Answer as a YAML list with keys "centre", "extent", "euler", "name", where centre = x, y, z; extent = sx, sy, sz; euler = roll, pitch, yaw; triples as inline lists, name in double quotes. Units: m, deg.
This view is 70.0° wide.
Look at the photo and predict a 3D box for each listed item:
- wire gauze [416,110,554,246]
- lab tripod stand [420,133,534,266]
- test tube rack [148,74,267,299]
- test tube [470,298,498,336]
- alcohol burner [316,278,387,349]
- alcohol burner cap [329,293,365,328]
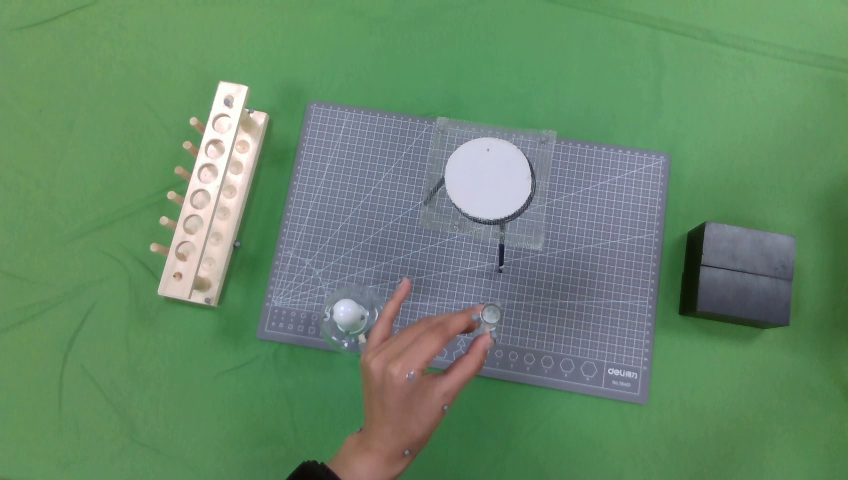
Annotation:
- centre: [0.061, -0.064, 0.594]
  extent: [0.125, 0.011, 0.121]
  euler: [10, 80, 3]
  name: "wire gauze"
- centre: [0.067, -0.054, 0.660]
  extent: [0.148, 0.132, 0.147]
  euler: [0, 77, 1]
  name: "lab tripod stand"
- centre: [-0.253, -0.061, 0.692]
  extent: [0.067, 0.085, 0.241]
  euler: [12, 79, 3]
  name: "test tube rack"
- centre: [0.049, 0.067, 0.506]
  extent: [0.017, 0.151, 0.017]
  euler: [0, 76, 2]
  name: "test tube"
- centre: [-0.079, 0.077, 0.646]
  extent: [0.078, 0.119, 0.077]
  euler: [0, 79, -1]
  name: "alcohol burner"
- centre: [-0.079, 0.070, 0.611]
  extent: [0.034, 0.048, 0.033]
  euler: [-1, 73, 5]
  name: "alcohol burner cap"
